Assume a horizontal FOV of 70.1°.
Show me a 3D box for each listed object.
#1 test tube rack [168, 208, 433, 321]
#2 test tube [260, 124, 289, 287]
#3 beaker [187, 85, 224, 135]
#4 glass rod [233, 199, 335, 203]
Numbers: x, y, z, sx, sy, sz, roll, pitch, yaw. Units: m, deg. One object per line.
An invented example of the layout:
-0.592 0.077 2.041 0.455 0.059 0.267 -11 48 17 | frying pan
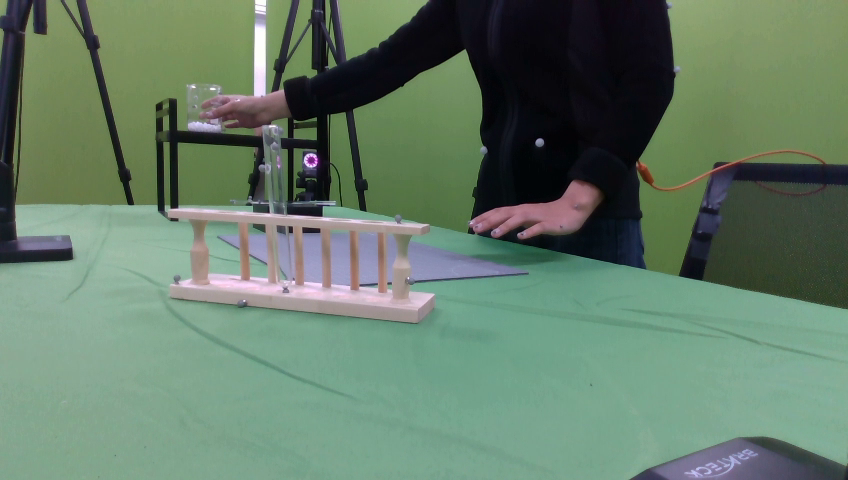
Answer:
-0.115 0.018 0.574 0.242 0.085 0.067 4 8 13 | test tube rack
-0.137 -0.031 0.556 0.017 0.150 0.017 -3 6 1 | test tube
-0.466 -0.275 1.286 0.074 0.100 0.084 4 8 23 | beaker
-0.264 -0.076 1.159 0.201 0.008 0.008 -2 9 -30 | glass rod
